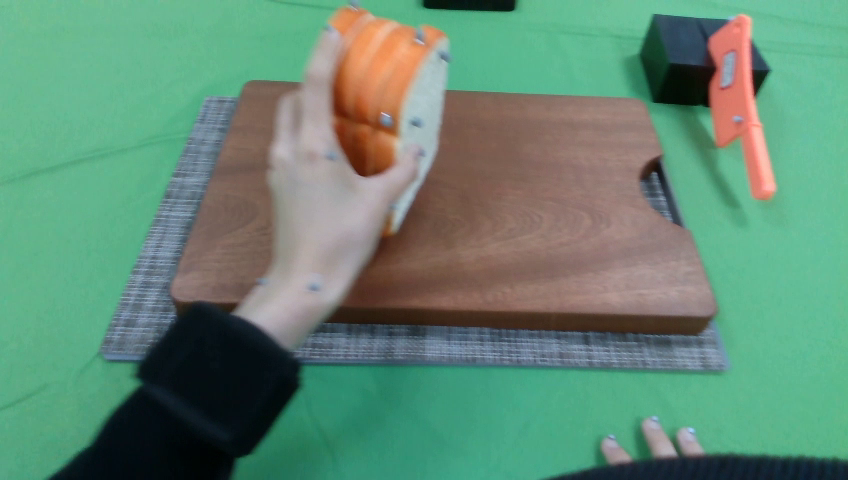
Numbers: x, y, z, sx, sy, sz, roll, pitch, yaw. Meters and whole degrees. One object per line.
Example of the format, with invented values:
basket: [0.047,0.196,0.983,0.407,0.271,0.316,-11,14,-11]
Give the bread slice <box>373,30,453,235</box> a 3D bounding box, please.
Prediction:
bread slice: [-0.007,-0.077,0.430,0.019,0.132,0.104,20,52,9]

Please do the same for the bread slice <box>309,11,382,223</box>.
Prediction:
bread slice: [-0.054,-0.093,0.440,0.018,0.135,0.106,16,46,7]

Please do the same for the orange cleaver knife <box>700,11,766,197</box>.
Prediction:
orange cleaver knife: [0.297,-0.129,0.592,0.012,0.077,0.210,5,68,-4]
